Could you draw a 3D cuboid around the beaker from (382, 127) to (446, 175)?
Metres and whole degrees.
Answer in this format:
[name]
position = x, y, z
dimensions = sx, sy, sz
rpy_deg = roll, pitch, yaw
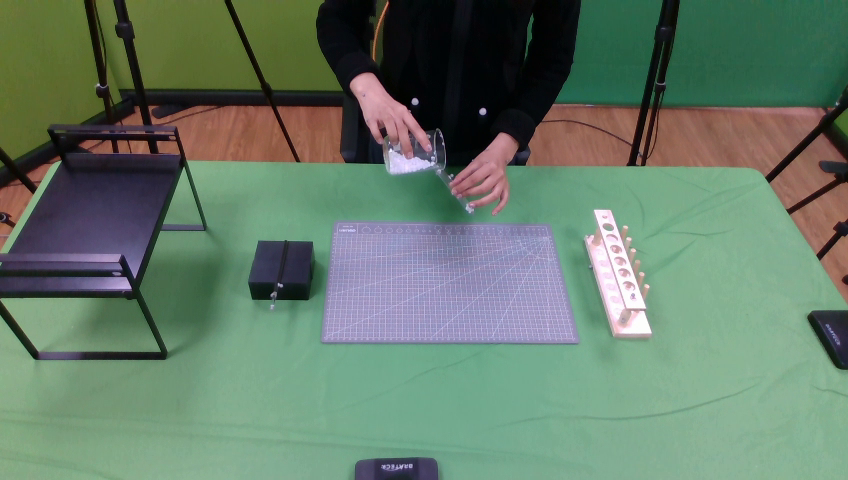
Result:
[beaker]
position = -0.020, -0.152, 1.063
dimensions = 0.100, 0.084, 0.073
rpy_deg = -8, 50, -11

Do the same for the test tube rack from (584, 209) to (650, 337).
[test tube rack]
position = 0.365, 0.056, 1.129
dimensions = 0.067, 0.085, 0.240
rpy_deg = 1, 46, -4

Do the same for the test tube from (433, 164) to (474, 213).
[test tube]
position = 0.059, -0.096, 1.152
dimensions = 0.017, 0.151, 0.017
rpy_deg = -18, 51, 23

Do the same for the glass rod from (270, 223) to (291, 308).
[glass rod]
position = -0.255, 0.041, 1.081
dimensions = 0.008, 0.008, 0.198
rpy_deg = 2, 46, -2
